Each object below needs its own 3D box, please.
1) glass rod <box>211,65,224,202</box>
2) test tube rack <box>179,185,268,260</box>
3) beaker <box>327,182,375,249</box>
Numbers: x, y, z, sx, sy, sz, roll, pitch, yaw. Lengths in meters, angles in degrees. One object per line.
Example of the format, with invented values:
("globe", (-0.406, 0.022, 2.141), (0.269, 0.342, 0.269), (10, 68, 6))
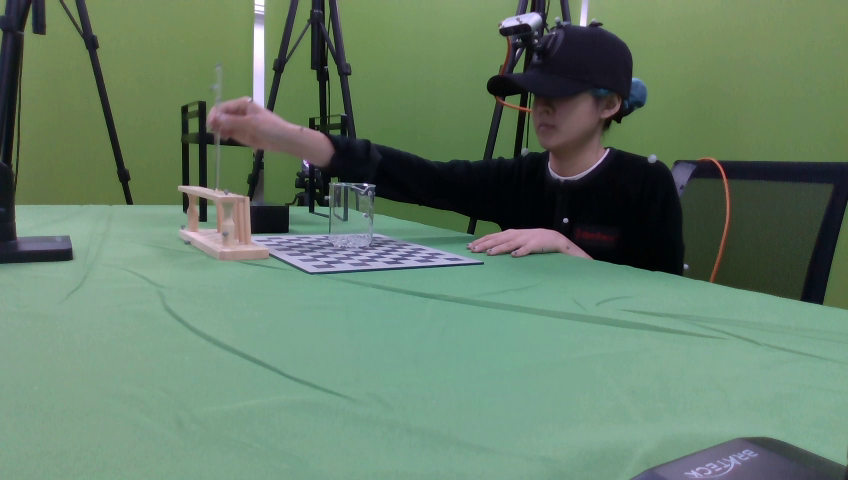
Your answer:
("glass rod", (-0.300, -0.154, 0.876), (0.008, 0.199, 0.008), (3, -1, 0))
("test tube rack", (-0.303, -0.031, 0.898), (0.067, 0.085, 0.241), (-2, 9, -33))
("beaker", (-0.114, -0.039, 0.950), (0.074, 0.100, 0.083), (-2, 10, -31))
